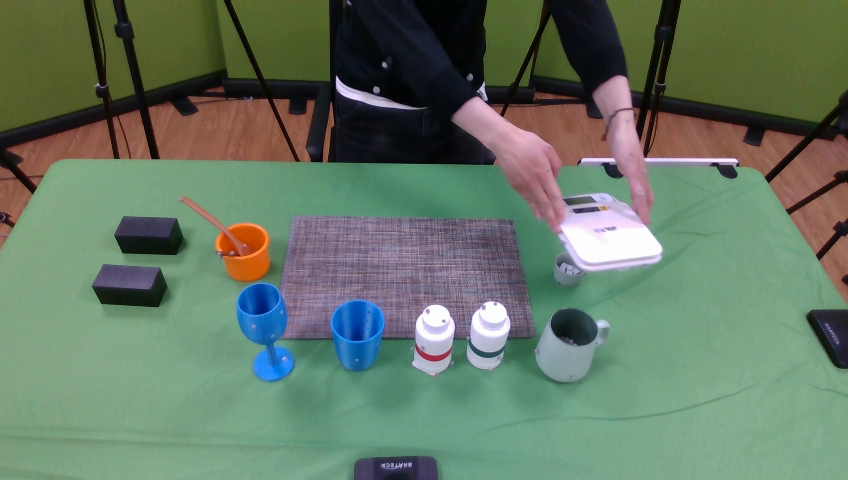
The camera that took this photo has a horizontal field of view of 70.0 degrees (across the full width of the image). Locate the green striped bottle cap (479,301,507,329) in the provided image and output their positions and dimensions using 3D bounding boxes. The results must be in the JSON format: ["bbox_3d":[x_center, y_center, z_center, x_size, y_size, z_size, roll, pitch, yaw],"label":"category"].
[{"bbox_3d":[0.109,0.118,0.950,0.044,0.020,0.044,2,47,-2],"label":"green striped bottle cap"}]

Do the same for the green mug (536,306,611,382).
[{"bbox_3d":[0.250,0.167,0.996,0.125,0.105,0.092,-15,48,-18],"label":"green mug"}]

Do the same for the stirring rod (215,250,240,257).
[{"bbox_3d":[-0.340,0.024,1.059,0.014,0.176,0.006,16,86,-6],"label":"stirring rod"}]

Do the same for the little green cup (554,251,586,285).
[{"bbox_3d":[0.276,0.055,1.151,0.061,0.039,0.061,1,46,-1],"label":"little green cup"}]

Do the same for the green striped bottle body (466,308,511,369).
[{"bbox_3d":[0.105,0.154,0.988,0.063,0.120,0.063,2,46,-2],"label":"green striped bottle body"}]

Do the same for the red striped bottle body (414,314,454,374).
[{"bbox_3d":[0.016,0.158,0.977,0.063,0.120,0.062,1,46,-1],"label":"red striped bottle body"}]

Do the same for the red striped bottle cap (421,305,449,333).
[{"bbox_3d":[0.017,0.122,0.939,0.044,0.018,0.044,2,45,-2],"label":"red striped bottle cap"}]

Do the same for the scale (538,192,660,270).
[{"bbox_3d":[0.295,-0.025,1.038,0.149,0.032,0.199,-6,41,-12],"label":"scale"}]

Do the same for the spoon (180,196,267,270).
[{"bbox_3d":[-0.360,-0.014,1.094,0.021,0.194,0.041,-27,26,31],"label":"spoon"}]

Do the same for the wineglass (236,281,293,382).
[{"bbox_3d":[-0.242,0.143,0.934,0.074,0.173,0.073,2,46,-2],"label":"wineglass"}]

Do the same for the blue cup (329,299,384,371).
[{"bbox_3d":[-0.109,0.160,0.979,0.093,0.101,0.092,4,46,-3],"label":"blue cup"}]
